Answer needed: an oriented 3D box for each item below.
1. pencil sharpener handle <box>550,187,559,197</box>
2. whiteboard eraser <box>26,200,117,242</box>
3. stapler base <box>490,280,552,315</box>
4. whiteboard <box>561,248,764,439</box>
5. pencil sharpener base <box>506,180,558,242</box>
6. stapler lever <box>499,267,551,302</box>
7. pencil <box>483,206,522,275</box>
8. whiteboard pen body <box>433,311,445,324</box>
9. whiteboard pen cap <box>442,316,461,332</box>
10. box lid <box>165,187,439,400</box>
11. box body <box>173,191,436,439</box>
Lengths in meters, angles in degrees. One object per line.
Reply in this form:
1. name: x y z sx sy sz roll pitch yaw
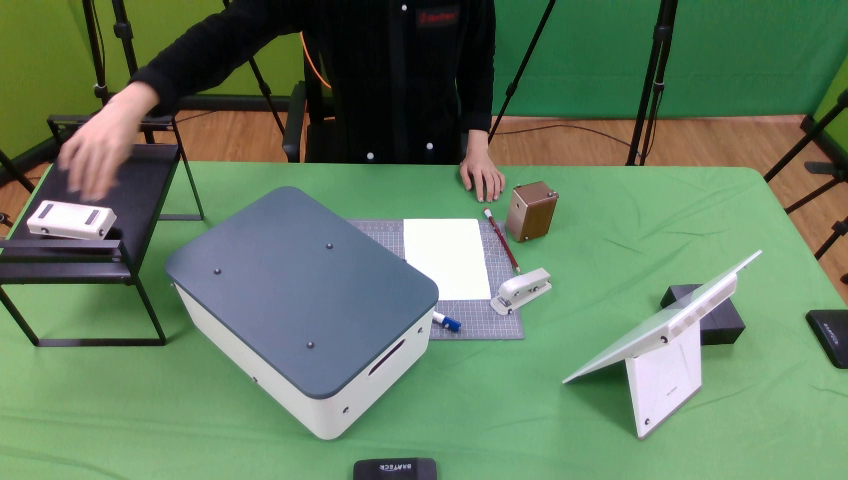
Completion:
1. pencil sharpener handle: 0.261 -0.084 1.221 0.031 0.068 0.036 -16 66 -19
2. whiteboard eraser: -0.532 -0.026 0.919 0.113 0.042 0.055 7 45 3
3. stapler base: 0.181 0.094 1.118 0.130 0.024 0.041 -24 57 -29
4. whiteboard: 0.386 0.176 0.905 0.217 0.306 0.143 -26 72 -27
5. pencil sharpener base: 0.216 -0.058 1.211 0.077 0.107 0.061 -16 49 -19
6. stapler lever: 0.185 0.076 1.101 0.118 0.040 0.026 -25 57 -29
7. pencil: 0.158 -0.001 1.218 0.012 0.012 0.192 -11 48 -14
8. whiteboard pen body: -0.004 0.123 1.074 0.140 0.017 0.017 24 49 15
9. whiteboard pen cap: 0.048 0.146 1.059 0.033 0.018 0.018 24 49 16
10. box lid: -0.186 0.060 0.925 0.370 0.015 0.263 32 53 25
11. box body: -0.191 0.110 0.979 0.362 0.161 0.254 33 53 24
